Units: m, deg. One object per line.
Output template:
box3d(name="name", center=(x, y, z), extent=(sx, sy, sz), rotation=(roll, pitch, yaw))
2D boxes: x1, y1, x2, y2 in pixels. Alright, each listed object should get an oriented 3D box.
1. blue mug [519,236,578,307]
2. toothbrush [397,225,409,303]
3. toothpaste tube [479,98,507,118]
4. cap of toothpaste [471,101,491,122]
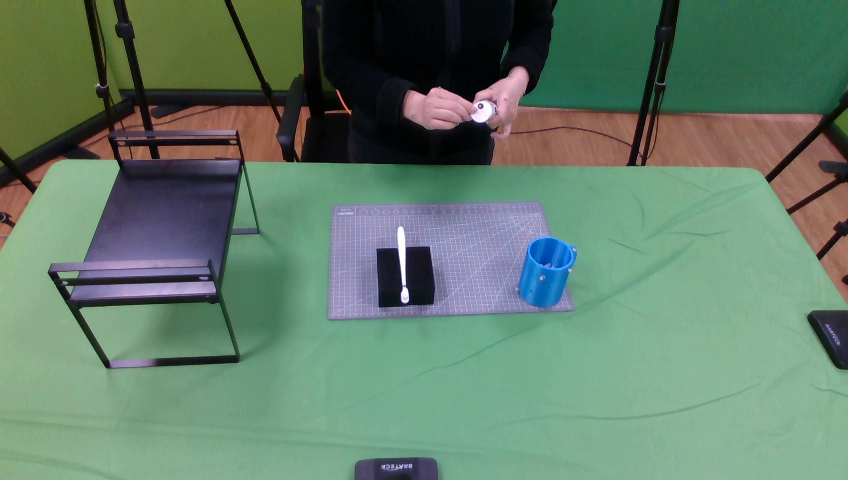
box3d(name="blue mug", center=(0.234, 0.051, 1.102), extent=(0.116, 0.106, 0.082), rotation=(-23, 52, -24))
box3d(name="toothbrush", center=(-0.038, 0.038, 1.090), extent=(0.014, 0.017, 0.180), rotation=(-6, 46, 0))
box3d(name="toothpaste tube", center=(0.123, -0.249, 1.141), extent=(0.055, 0.034, 0.165), rotation=(32, 23, 3))
box3d(name="cap of toothpaste", center=(0.102, -0.227, 1.067), extent=(0.037, 0.037, 0.011), rotation=(11, 24, 7))
